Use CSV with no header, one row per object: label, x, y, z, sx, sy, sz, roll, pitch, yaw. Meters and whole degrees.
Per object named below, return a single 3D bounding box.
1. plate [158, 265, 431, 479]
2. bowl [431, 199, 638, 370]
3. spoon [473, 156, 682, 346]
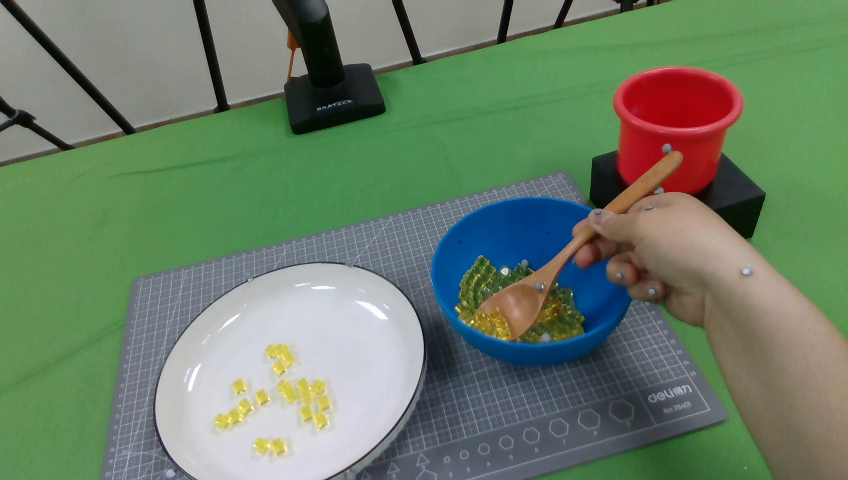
plate,-0.096,0.106,0.472,0.207,0.039,0.205,-5,44,6
bowl,0.084,0.046,0.469,0.151,0.077,0.150,-5,44,6
spoon,0.111,0.007,0.431,0.194,0.022,0.041,-45,47,5
